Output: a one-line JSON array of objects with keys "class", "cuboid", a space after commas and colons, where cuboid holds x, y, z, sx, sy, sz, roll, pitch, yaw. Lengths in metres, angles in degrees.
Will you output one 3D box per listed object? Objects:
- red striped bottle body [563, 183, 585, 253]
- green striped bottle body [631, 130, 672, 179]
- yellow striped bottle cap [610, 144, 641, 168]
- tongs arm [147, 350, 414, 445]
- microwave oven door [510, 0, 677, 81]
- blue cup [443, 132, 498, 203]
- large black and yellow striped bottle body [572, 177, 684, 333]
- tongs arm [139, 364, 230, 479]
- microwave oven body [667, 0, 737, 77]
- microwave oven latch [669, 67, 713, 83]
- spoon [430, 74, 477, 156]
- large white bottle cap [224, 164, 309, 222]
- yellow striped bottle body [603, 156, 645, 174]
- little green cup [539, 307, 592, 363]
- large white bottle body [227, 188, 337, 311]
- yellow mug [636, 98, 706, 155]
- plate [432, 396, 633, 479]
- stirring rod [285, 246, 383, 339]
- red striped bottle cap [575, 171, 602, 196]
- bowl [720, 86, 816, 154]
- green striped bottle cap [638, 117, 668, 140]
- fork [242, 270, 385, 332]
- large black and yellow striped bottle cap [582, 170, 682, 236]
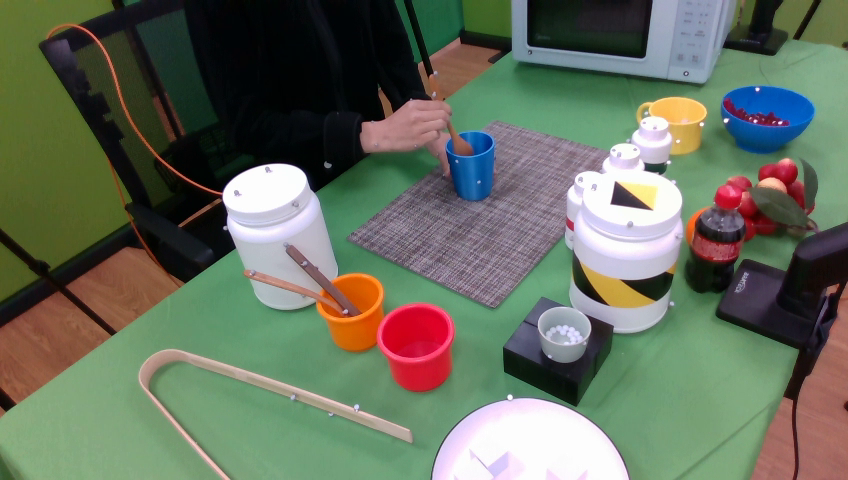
[{"class": "red striped bottle body", "cuboid": [0.246, -0.041, 0.910, 0.063, 0.120, 0.062, -2, 38, 2]}, {"class": "green striped bottle body", "cuboid": [0.375, -0.140, 1.007, 0.063, 0.120, 0.063, -5, 40, 5]}, {"class": "yellow striped bottle cap", "cuboid": [0.307, -0.128, 0.923, 0.044, 0.019, 0.044, -6, 39, 5]}, {"class": "tongs arm", "cuboid": [-0.193, 0.200, 0.757, 0.382, 0.026, 0.051, 14, 49, 24]}, {"class": "microwave oven door", "cuboid": [0.354, -0.478, 1.290, 0.353, 0.245, 0.039, 15, 45, 25]}, {"class": "blue cup", "cuboid": [0.083, -0.121, 1.039, 0.092, 0.100, 0.092, -2, 39, 2]}, {"class": "large black and yellow striped bottle body", "cuboid": [0.262, 0.017, 0.788, 0.131, 0.185, 0.130, -5, 40, 4]}, {"class": "tongs arm", "cuboid": [-0.240, 0.254, 0.706, 0.384, 0.028, 0.028, 27, 59, 34]}, {"class": "microwave oven body", "cuboid": [0.462, -0.552, 1.369, 0.439, 0.261, 0.326, 15, 45, 26]}, {"class": "microwave oven latch", "cuboid": [0.556, -0.349, 1.261, 0.078, 0.029, 0.030, 16, 46, 27]}, {"class": "spoon", "cuboid": [0.045, -0.189, 0.985, 0.041, 0.195, 0.021, -35, 40, -5]}, {"class": "large white bottle cap", "cuboid": [-0.215, -0.066, 0.829, 0.115, 0.018, 0.114, -4, 40, 4]}, {"class": "yellow striped bottle body", "cuboid": [0.313, -0.089, 0.956, 0.063, 0.121, 0.062, -4, 39, 4]}, {"class": "little green cup", "cuboid": [0.168, 0.115, 0.721, 0.061, 0.039, 0.061, -4, 42, 4]}, {"class": "large white bottle body", "cuboid": [-0.207, -0.002, 0.883, 0.130, 0.185, 0.130, -4, 40, 4]}, {"class": "yellow mug", "cuboid": [0.453, -0.217, 1.128, 0.100, 0.064, 0.129, -34, 46, -27]}, {"class": "plate", "cuboid": [0.112, 0.261, 0.634, 0.209, 0.038, 0.208, -5, 40, 4]}, {"class": "stirring rod", "cuboid": [-0.121, 0.071, 0.819, 0.176, 0.006, 0.014, 44, 52, -6]}, {"class": "red striped bottle cap", "cuboid": [0.242, -0.081, 0.876, 0.044, 0.018, 0.044, -5, 44, 5]}, {"class": "bowl", "cuboid": [0.605, -0.206, 1.081, 0.151, 0.077, 0.150, -5, 40, 5]}, {"class": "green striped bottle cap", "cuboid": [0.369, -0.180, 0.974, 0.044, 0.020, 0.044, -4, 41, 4]}, {"class": "fork", "cuboid": [-0.142, 0.082, 0.802, 0.209, 0.018, 0.028, 28, 38, -26]}, {"class": "large black and yellow striped bottle cap", "cuboid": [0.252, -0.048, 0.735, 0.115, 0.019, 0.114, -3, 40, 3]}]
